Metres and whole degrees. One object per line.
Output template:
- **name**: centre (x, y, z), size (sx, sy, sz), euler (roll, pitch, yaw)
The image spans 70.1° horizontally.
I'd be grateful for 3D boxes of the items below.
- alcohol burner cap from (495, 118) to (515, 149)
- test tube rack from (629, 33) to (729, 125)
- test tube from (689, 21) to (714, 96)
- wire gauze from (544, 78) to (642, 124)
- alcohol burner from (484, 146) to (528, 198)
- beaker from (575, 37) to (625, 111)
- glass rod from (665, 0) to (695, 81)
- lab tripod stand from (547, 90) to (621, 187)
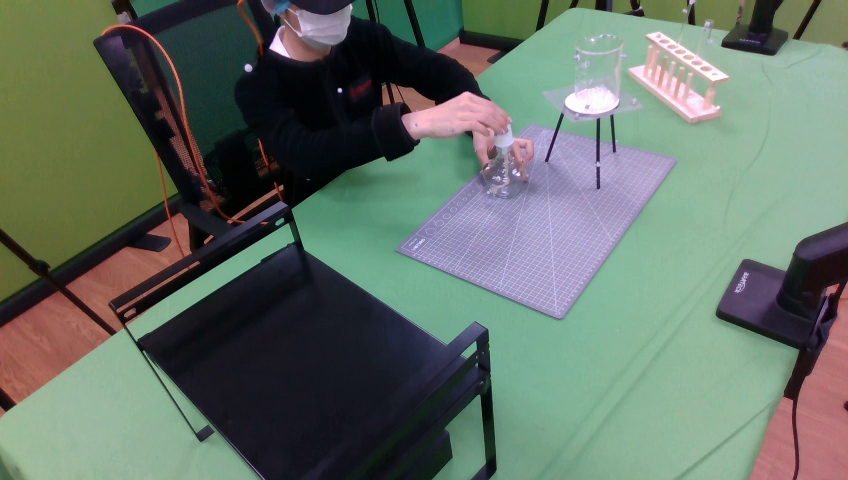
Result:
- **alcohol burner cap**: centre (0.131, -0.178, 0.995), size (0.034, 0.048, 0.033), euler (-8, 38, 7)
- **test tube rack**: centre (0.516, -0.337, 1.247), size (0.067, 0.085, 0.240), euler (-14, 41, -7)
- **test tube**: centre (0.541, -0.353, 1.184), size (0.017, 0.151, 0.017), euler (-2, 40, 2)
- **wire gauze**: centre (0.282, -0.234, 1.022), size (0.125, 0.011, 0.120), euler (-17, 38, -4)
- **alcohol burner**: centre (0.141, -0.133, 1.042), size (0.078, 0.119, 0.077), euler (-4, 42, 4)
- **beaker**: centre (0.283, -0.271, 0.988), size (0.074, 0.101, 0.083), euler (-10, 39, 1)
- **glass rod**: centre (0.524, -0.415, 1.234), size (0.008, 0.200, 0.008), euler (1, 46, 0)
- **lab tripod stand**: centre (0.289, -0.184, 1.062), size (0.148, 0.132, 0.147), euler (-6, 41, 6)
